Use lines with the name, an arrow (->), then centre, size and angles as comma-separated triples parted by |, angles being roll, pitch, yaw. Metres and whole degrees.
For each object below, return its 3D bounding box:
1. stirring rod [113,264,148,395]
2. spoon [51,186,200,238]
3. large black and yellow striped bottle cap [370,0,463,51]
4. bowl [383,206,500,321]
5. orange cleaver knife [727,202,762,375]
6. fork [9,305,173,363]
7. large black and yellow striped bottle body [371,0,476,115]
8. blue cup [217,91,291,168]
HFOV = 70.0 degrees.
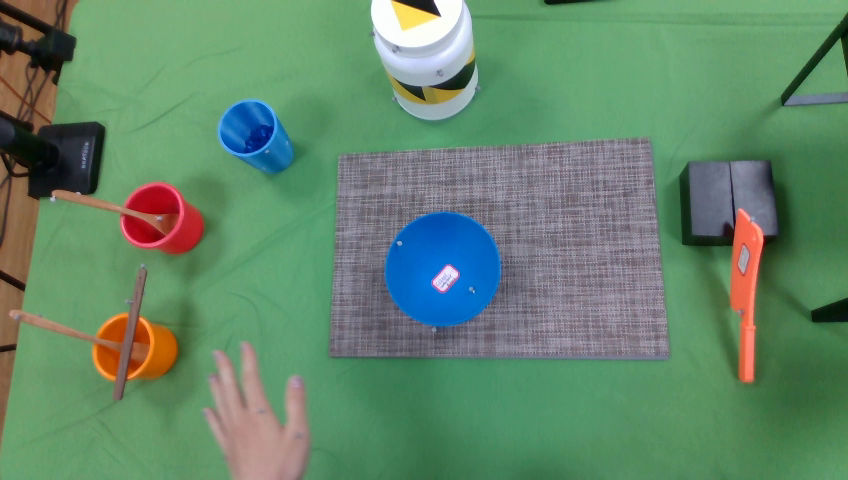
stirring rod -> -0.392, 0.117, 0.811 | 0.014, 0.006, 0.175 | 4, 77, 7
spoon -> -0.420, -0.045, 0.861 | 0.195, 0.021, 0.041 | 19, 74, -31
large black and yellow striped bottle cap -> -0.010, -0.290, 0.752 | 0.115, 0.019, 0.114 | -2, 77, 9
bowl -> 0.027, 0.038, 0.803 | 0.151, 0.077, 0.150 | -2, 76, 8
orange cleaver knife -> 0.390, 0.061, 0.745 | 0.012, 0.077, 0.212 | -4, 105, 4
fork -> -0.444, 0.127, 0.818 | 0.209, 0.018, 0.028 | 27, 88, -30
large black and yellow striped bottle body -> 0.002, -0.269, 0.833 | 0.130, 0.185, 0.130 | -2, 75, 8
blue cup -> -0.238, -0.149, 0.881 | 0.092, 0.101, 0.092 | -1, 77, 7
